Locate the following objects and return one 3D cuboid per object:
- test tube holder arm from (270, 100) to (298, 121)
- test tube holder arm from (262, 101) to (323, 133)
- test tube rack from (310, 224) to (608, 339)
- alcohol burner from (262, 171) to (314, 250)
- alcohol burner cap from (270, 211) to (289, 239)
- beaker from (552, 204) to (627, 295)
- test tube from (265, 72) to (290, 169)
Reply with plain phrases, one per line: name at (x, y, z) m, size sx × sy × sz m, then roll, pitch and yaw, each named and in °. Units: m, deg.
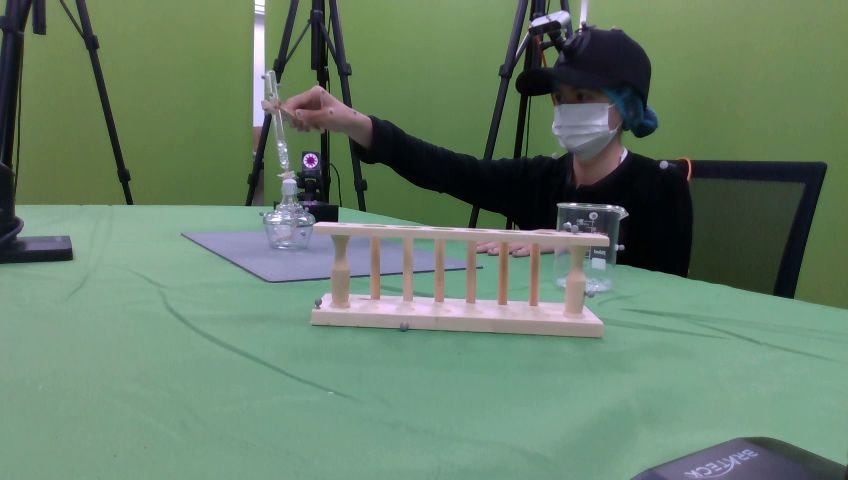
test tube holder arm at (-0.214, -0.199, 0.934) m, size 0.010 × 0.015 × 0.088 m, roll -6°, pitch -3°, yaw 9°
test tube holder arm at (-0.209, -0.197, 0.979) m, size 0.013 × 0.015 × 0.179 m, roll -6°, pitch -3°, yaw 16°
test tube rack at (0.028, 0.032, 0.528) m, size 0.242 × 0.085 × 0.067 m, roll 3°, pitch 7°, yaw 0°
alcohol burner at (-0.205, -0.045, 0.913) m, size 0.078 × 0.119 × 0.078 m, roll 1°, pitch 9°, yaw 0°
alcohol burner cap at (-0.246, -0.026, 1.035) m, size 0.034 × 0.048 × 0.034 m, roll 2°, pitch 8°, yaw 0°
beaker at (0.191, 0.010, 0.708) m, size 0.083 × 0.100 × 0.074 m, roll 8°, pitch 9°, yaw 33°
test tube at (-0.221, -0.180, 0.911) m, size 0.017 × 0.150 × 0.017 m, roll -10°, pitch -4°, yaw 0°
